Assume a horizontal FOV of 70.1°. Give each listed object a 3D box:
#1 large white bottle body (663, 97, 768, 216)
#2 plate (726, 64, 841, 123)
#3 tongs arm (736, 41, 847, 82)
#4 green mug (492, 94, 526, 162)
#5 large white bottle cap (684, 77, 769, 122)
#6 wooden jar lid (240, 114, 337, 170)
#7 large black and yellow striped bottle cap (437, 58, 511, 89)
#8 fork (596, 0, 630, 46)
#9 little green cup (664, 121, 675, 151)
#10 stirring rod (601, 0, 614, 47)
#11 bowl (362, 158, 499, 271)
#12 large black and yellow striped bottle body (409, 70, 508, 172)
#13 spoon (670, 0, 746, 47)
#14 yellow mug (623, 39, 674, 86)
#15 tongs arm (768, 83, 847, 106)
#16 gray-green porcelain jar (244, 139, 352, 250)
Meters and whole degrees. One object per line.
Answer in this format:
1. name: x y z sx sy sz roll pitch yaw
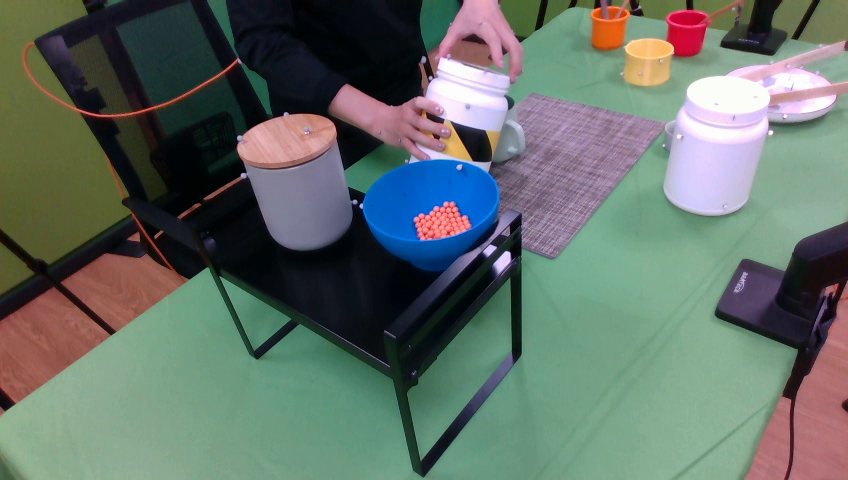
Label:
1. large white bottle body: 0.458 -0.146 0.952 0.130 0.185 0.130 -4 40 4
2. plate: 0.695 -0.282 1.189 0.207 0.039 0.206 -4 40 4
3. tongs arm: 0.712 -0.332 1.194 0.386 0.026 0.050 -19 45 -16
4. green mug: 0.144 -0.201 1.122 0.093 0.105 0.124 -29 45 -23
5. large white bottle cap: 0.448 -0.210 0.898 0.115 0.018 0.114 -4 40 4
6. wooden jar lid: -0.149 -0.106 0.673 0.108 0.021 0.108 -6 38 5
7. large black and yellow striped bottle cap: 0.077 -0.257 0.930 0.115 0.019 0.114 14 20 -5
8. fork: 0.481 -0.556 1.453 0.028 0.019 0.207 40 103 38
9. little green cup: 0.472 -0.188 1.113 0.061 0.039 0.061 -5 40 5
10. stirring rod: 0.439 -0.552 1.463 0.014 0.006 0.175 -7 83 3
11. bowl: 0.011 -0.019 0.679 0.151 0.077 0.150 -5 41 5
12. large black and yellow striped bottle body: 0.057 -0.180 0.960 0.131 0.184 0.130 13 20 -4
13. spoon: 0.629 -0.485 1.350 0.022 0.193 0.042 47 54 -7
14. yellow mug: 0.485 -0.398 1.334 0.100 0.064 0.130 -18 41 -10
15. tongs arm: 0.738 -0.281 1.134 0.388 0.028 0.028 -9 47 -5
16. gray-green porcelain jar: -0.144 -0.060 0.714 0.106 0.127 0.105 -4 41 4
